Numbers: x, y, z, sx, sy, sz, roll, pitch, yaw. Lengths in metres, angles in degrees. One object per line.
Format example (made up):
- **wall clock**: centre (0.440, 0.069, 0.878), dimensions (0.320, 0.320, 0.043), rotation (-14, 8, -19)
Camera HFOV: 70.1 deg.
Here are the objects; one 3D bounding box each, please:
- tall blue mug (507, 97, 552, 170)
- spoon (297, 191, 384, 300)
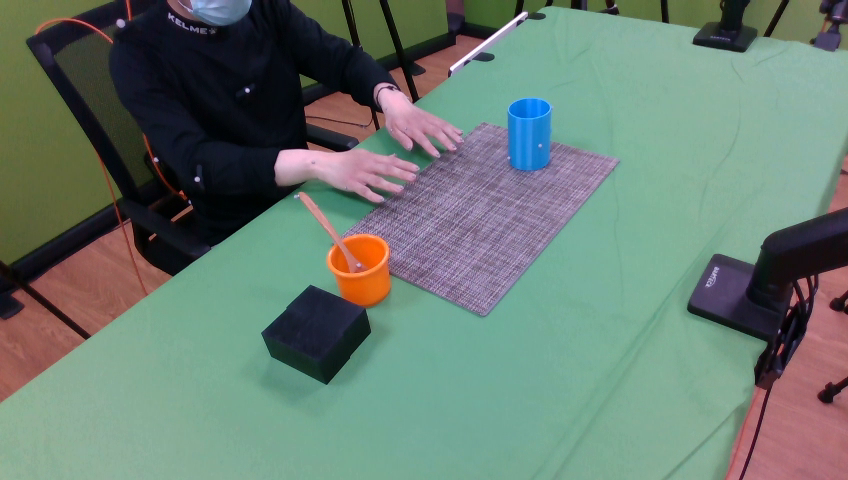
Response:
- **tall blue mug**: centre (0.179, -0.198, 1.101), dimensions (0.078, 0.108, 0.106), rotation (-36, 49, -28)
- **spoon**: centre (-0.124, 0.006, 0.882), dimensions (0.042, 0.194, 0.021), rotation (-36, 4, -25)
